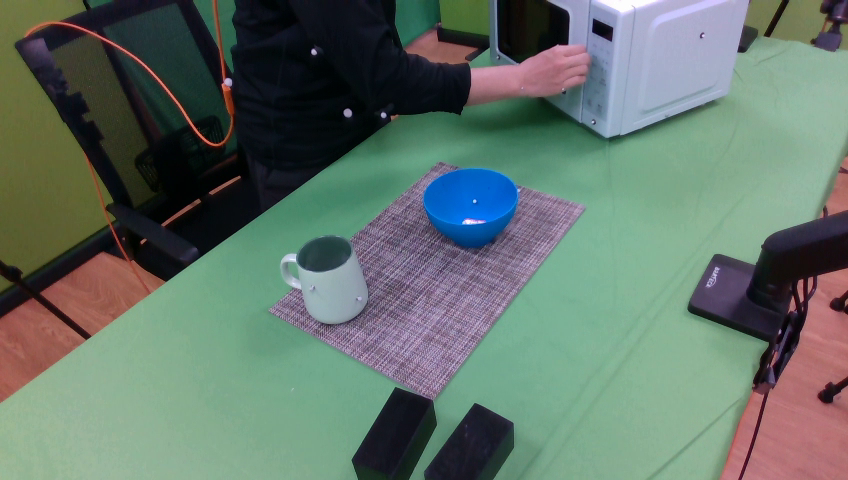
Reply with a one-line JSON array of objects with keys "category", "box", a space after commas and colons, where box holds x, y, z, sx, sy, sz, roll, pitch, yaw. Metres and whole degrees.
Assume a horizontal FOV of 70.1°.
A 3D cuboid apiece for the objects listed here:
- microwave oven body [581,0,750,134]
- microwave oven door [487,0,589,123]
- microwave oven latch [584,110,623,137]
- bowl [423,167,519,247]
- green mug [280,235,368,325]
[{"category": "microwave oven body", "box": [0.382, -0.445, 1.246, 0.327, 0.261, 0.437, -22, 42, -16]}, {"category": "microwave oven door", "box": [0.231, -0.419, 1.230, 0.039, 0.245, 0.352, -22, 42, -16]}, {"category": "microwave oven latch", "box": [0.337, -0.222, 1.143, 0.030, 0.029, 0.078, -21, 42, -15]}, {"category": "bowl", "box": [0.076, -0.041, 0.958, 0.151, 0.077, 0.150, -4, 41, 3]}, {"category": "green mug", "box": [-0.146, 0.055, 0.857, 0.125, 0.105, 0.092, 8, 43, 17]}]
